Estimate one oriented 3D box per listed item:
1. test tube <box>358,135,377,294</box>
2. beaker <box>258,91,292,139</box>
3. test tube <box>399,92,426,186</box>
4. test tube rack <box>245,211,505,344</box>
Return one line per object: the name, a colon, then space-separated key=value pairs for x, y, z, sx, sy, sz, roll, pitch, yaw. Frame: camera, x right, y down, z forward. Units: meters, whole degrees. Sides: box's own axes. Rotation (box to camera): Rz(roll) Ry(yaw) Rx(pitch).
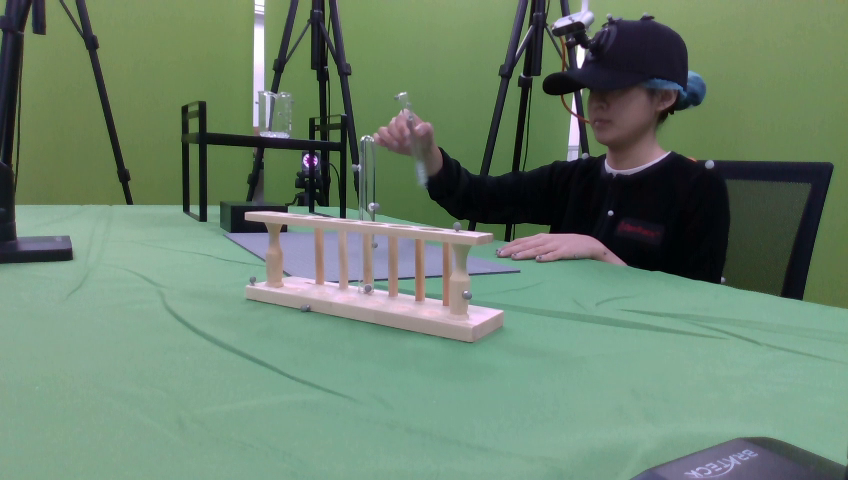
test tube: x=-0.053 y=-0.022 z=0.565 sx=0.017 sy=0.150 sz=0.017 roll=2 pitch=6 yaw=0
beaker: x=-0.331 y=-0.276 z=1.343 sx=0.074 sy=0.100 sz=0.083 roll=0 pitch=8 yaw=-20
test tube: x=-0.018 y=-0.160 z=0.965 sx=0.017 sy=0.150 sz=0.017 roll=-11 pitch=14 yaw=3
test tube rack: x=-0.049 y=0.025 z=0.547 sx=0.241 sy=0.085 sz=0.067 roll=7 pitch=8 yaw=28
